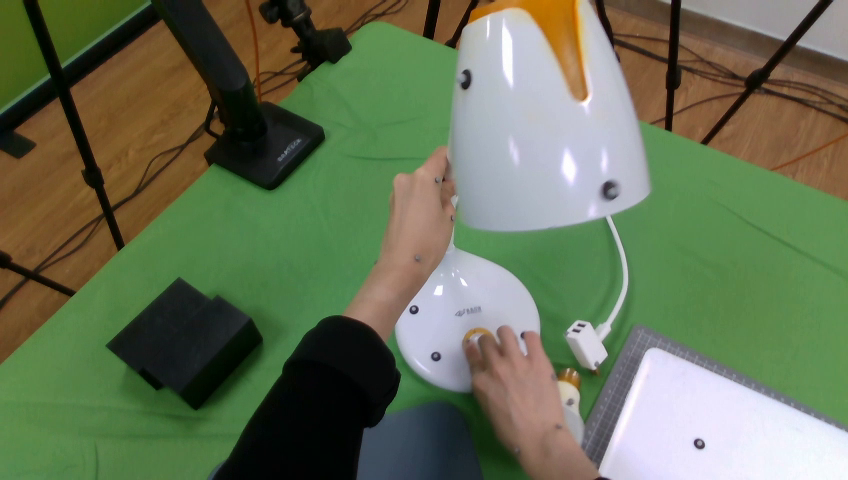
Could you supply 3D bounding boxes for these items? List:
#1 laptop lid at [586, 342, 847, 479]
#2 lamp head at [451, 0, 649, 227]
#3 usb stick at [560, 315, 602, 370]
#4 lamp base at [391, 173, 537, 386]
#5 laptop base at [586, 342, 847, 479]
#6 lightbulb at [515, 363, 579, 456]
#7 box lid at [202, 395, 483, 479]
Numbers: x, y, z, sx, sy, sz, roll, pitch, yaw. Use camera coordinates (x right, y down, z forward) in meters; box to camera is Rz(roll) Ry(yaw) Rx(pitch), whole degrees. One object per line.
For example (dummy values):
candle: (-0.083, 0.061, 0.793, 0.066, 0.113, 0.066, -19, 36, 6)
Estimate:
laptop lid: (0.326, 0.258, 0.535, 0.355, 0.013, 0.241, 26, 63, 17)
lamp head: (0.062, -0.080, 0.346, 0.112, 0.112, 0.123, -14, 102, 3)
usb stick: (0.167, 0.109, 0.633, 0.027, 0.059, 0.021, -38, 22, -26)
lamp base: (0.036, 0.032, 0.607, 0.161, 0.182, 0.177, -23, 56, -13)
laptop base: (0.327, 0.263, 0.546, 0.352, 0.023, 0.234, 24, 64, 16)
lightbulb: (0.128, 0.163, 0.599, 0.059, 0.060, 0.107, 21, 44, 15)
box lid: (-0.047, 0.329, 0.515, 0.263, 0.015, 0.367, -14, 58, -7)
